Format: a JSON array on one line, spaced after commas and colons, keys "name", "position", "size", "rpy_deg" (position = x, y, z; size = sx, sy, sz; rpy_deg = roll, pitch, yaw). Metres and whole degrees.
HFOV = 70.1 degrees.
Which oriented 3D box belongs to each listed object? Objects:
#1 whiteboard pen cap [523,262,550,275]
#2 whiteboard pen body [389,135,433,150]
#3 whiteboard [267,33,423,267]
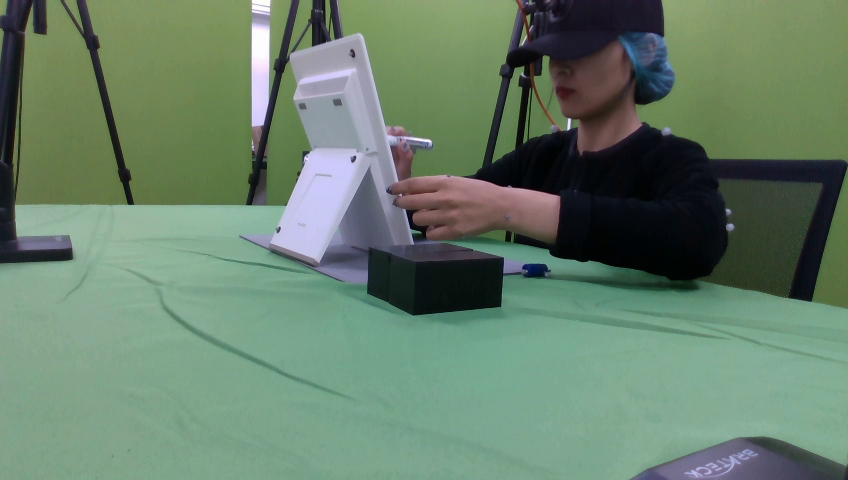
[{"name": "whiteboard pen cap", "position": [0.145, 0.037, 0.776], "size": [0.033, 0.018, 0.018], "rpy_deg": [2, 6, -29]}, {"name": "whiteboard pen body", "position": [-0.027, -0.144, 0.887], "size": [0.017, 0.017, 0.141], "rpy_deg": [6, 8, 30]}, {"name": "whiteboard", "position": [-0.153, -0.098, 0.819], "size": [0.144, 0.305, 0.216], "rpy_deg": [-25, 21, -29]}]
